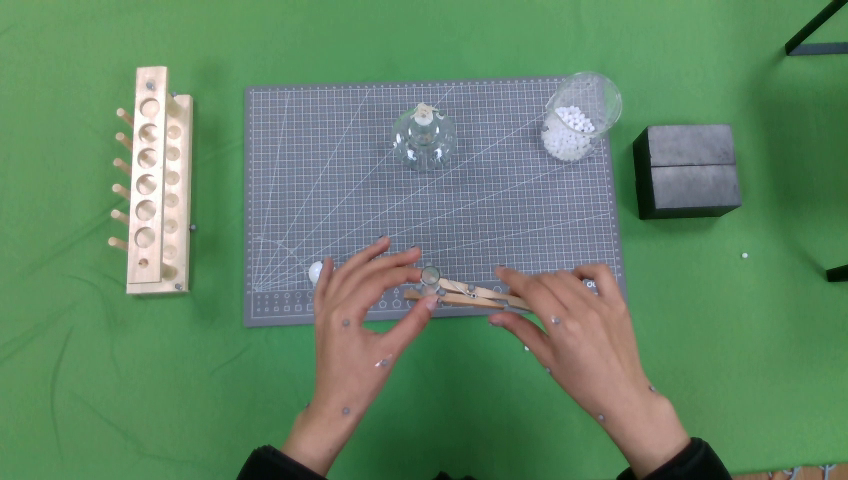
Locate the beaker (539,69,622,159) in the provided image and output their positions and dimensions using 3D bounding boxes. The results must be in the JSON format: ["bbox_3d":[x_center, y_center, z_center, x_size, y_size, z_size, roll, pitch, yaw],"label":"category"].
[{"bbox_3d":[0.174,-0.141,0.707,0.084,0.100,0.073,-4,78,-1],"label":"beaker"}]

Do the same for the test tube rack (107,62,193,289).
[{"bbox_3d":[-0.314,-0.070,0.688,0.067,0.085,0.241,-2,79,-2],"label":"test tube rack"}]

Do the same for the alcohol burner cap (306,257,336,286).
[{"bbox_3d":[-0.120,0.034,0.692,0.034,0.048,0.033,1,78,-2],"label":"alcohol burner cap"}]

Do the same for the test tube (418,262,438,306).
[{"bbox_3d":[0.003,0.041,0.526,0.017,0.151,0.017,0,77,0],"label":"test tube"}]

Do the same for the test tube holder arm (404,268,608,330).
[{"bbox_3d":[0.070,0.050,0.518,0.178,0.015,0.013,13,81,2],"label":"test tube holder arm"}]

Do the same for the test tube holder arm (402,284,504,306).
[{"bbox_3d":[0.024,0.047,0.518,0.088,0.015,0.010,6,80,0],"label":"test tube holder arm"}]

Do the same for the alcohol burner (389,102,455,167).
[{"bbox_3d":[-0.002,-0.127,0.692,0.078,0.119,0.077,0,79,1],"label":"alcohol burner"}]
